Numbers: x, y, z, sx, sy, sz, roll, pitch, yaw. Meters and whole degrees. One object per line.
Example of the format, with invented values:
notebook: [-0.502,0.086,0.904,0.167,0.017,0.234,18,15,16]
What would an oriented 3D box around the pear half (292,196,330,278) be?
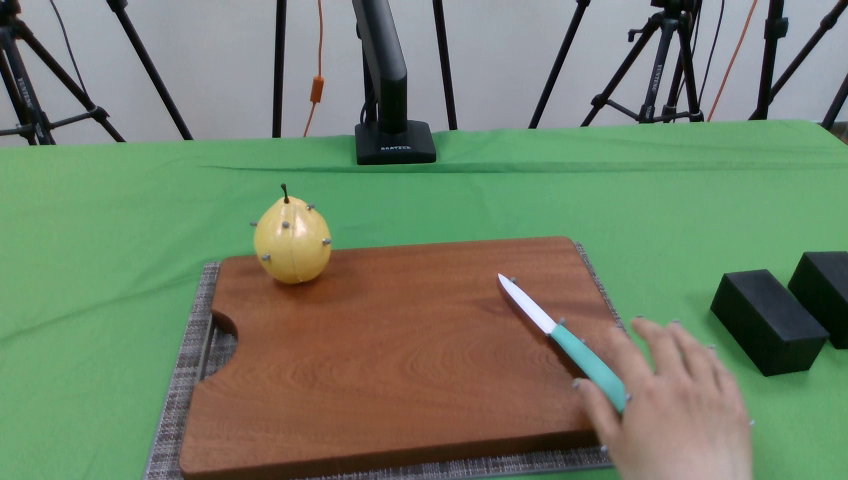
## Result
pear half: [-0.113,-0.004,0.624,0.031,0.088,0.070,1,30,1]

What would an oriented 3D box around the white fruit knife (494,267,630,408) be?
white fruit knife: [0.125,0.083,0.580,0.027,0.016,0.205,-5,35,-30]

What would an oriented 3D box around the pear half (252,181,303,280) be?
pear half: [-0.149,-0.014,0.620,0.056,0.111,0.075,2,33,2]
